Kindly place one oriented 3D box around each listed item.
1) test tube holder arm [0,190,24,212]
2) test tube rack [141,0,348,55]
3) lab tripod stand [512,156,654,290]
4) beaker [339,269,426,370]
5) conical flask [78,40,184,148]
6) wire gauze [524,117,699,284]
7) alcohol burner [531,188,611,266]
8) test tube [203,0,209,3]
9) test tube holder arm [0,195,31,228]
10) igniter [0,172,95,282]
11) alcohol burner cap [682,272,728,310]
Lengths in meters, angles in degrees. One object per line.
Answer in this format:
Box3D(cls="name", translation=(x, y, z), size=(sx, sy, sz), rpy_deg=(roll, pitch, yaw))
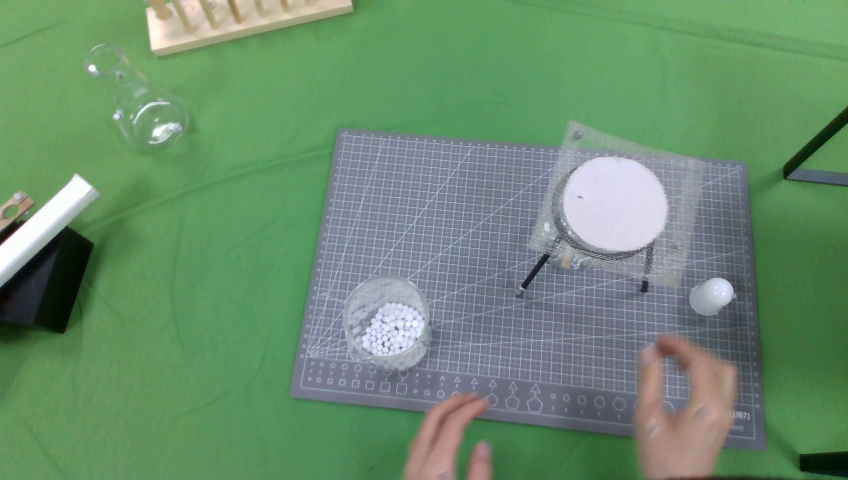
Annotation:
Box3D(cls="test tube holder arm", translation=(-0.456, 0.018, 0.577), size=(0.178, 0.015, 0.013), rpy_deg=(-47, 106, -13))
Box3D(cls="test tube rack", translation=(-0.218, -0.295, 0.702), size=(0.242, 0.086, 0.066), rpy_deg=(-15, 70, -4))
Box3D(cls="lab tripod stand", translation=(0.153, -0.008, 0.564), size=(0.148, 0.132, 0.147), rpy_deg=(0, 69, 0))
Box3D(cls="beaker", translation=(-0.036, 0.080, 0.556), size=(0.073, 0.101, 0.084), rpy_deg=(35, 75, 14))
Box3D(cls="conical flask", translation=(-0.311, -0.156, 0.635), size=(0.075, 0.122, 0.075), rpy_deg=(-1, 70, 2))
Box3D(cls="wire gauze", translation=(0.158, -0.035, 0.502), size=(0.121, 0.011, 0.124), rpy_deg=(18, 72, 6))
Box3D(cls="alcohol burner", translation=(0.144, -0.018, 0.579), size=(0.078, 0.120, 0.077), rpy_deg=(0, 69, 0))
Box3D(cls="test tube", translation=(-0.262, -0.320, 0.659), size=(0.017, 0.151, 0.017), rpy_deg=(0, 64, 0))
Box3D(cls="test tube holder arm", translation=(-0.422, -0.010, 0.589), size=(0.087, 0.015, 0.010), rpy_deg=(-46, 106, -13))
Box3D(cls="igniter", translation=(-0.426, 0.043, 0.568), size=(0.057, 0.025, 0.276), rpy_deg=(34, 74, 22))
Box3D(cls="alcohol burner cap", translation=(0.276, 0.047, 0.590), size=(0.034, 0.048, 0.033), rpy_deg=(0, 70, 1))
